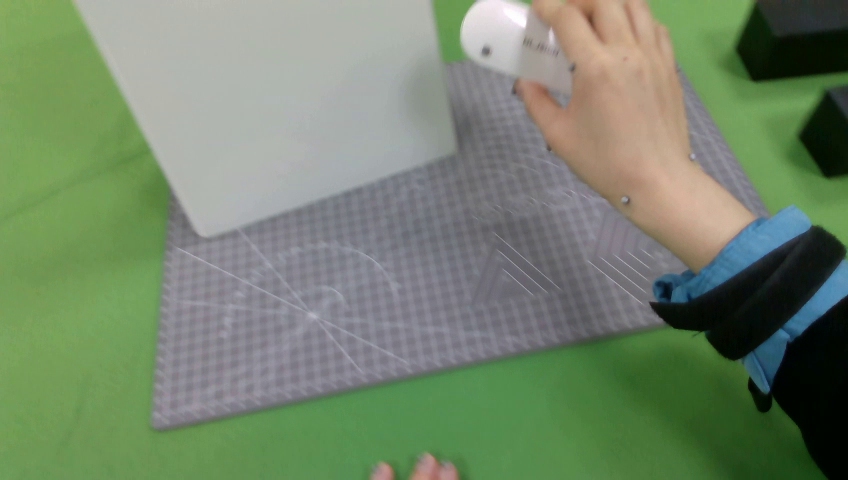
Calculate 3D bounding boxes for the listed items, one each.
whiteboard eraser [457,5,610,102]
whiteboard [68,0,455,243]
[{"bbox_3d":[0.072,-0.120,0.394,0.101,0.018,0.041,17,101,-7],"label":"whiteboard eraser"},{"bbox_3d":[-0.124,-0.189,0.445,0.217,0.308,0.142,-20,38,-7],"label":"whiteboard"}]
